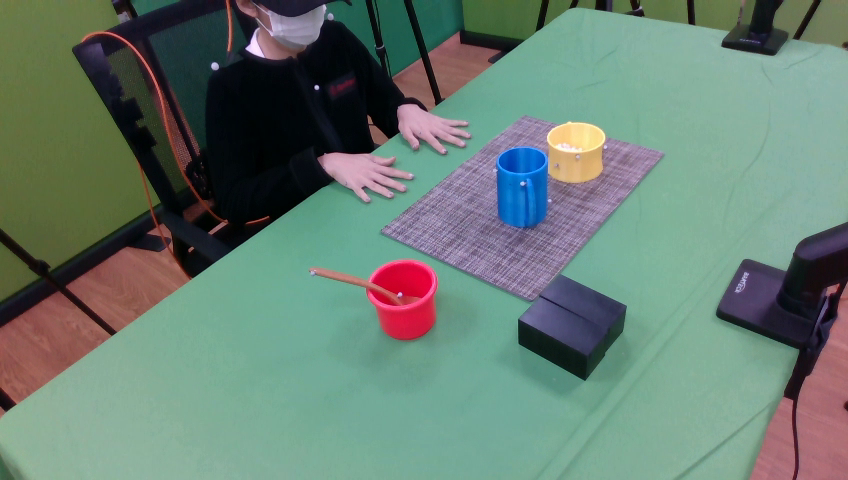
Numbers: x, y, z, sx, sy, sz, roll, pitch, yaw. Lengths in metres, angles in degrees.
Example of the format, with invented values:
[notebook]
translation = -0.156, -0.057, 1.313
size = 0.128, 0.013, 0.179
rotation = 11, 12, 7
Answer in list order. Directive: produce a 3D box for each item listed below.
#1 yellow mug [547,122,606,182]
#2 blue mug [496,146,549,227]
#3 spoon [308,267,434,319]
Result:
[yellow mug]
translation = 0.270, -0.167, 1.090
size = 0.100, 0.064, 0.130
rotation = -6, 39, 3
[blue mug]
translation = 0.162, -0.076, 0.969
size = 0.082, 0.106, 0.116
rotation = -9, 40, -1
[spoon]
translation = -0.067, 0.068, 0.812
size = 0.195, 0.021, 0.041
rotation = 26, 30, -31
